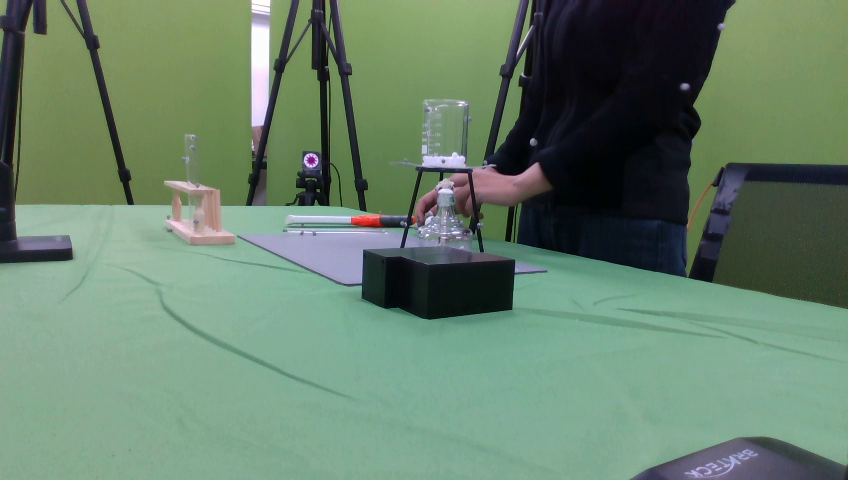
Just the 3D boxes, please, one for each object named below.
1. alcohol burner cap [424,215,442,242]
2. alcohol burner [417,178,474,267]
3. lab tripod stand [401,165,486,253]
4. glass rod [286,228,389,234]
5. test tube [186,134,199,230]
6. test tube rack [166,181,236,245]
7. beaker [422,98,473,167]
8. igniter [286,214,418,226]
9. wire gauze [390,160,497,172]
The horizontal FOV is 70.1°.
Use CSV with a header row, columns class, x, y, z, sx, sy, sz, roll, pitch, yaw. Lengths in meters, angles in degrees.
class,x,y,z,sx,sy,sz,roll,pitch,yaw
alcohol burner cap,0.017,-0.022,1.098,0.034,0.048,0.034,2,8,0
alcohol burner,0.029,-0.024,0.810,0.078,0.119,0.078,1,8,0
lab tripod stand,0.028,-0.049,0.930,0.148,0.131,0.148,2,9,0
glass rod,-0.154,-0.016,1.101,0.201,0.008,0.008,1,6,-31
test tube,-0.360,-0.089,0.946,0.017,0.150,0.017,0,10,0
test tube rack,-0.383,-0.051,1.024,0.067,0.085,0.241,-2,9,-31
beaker,0.031,-0.162,0.919,0.074,0.100,0.083,-4,10,-36
igniter,-0.146,-0.043,1.263,0.278,0.025,0.057,-1,-2,-24
wire gauze,0.028,-0.114,0.920,0.122,0.011,0.124,-5,13,-34
